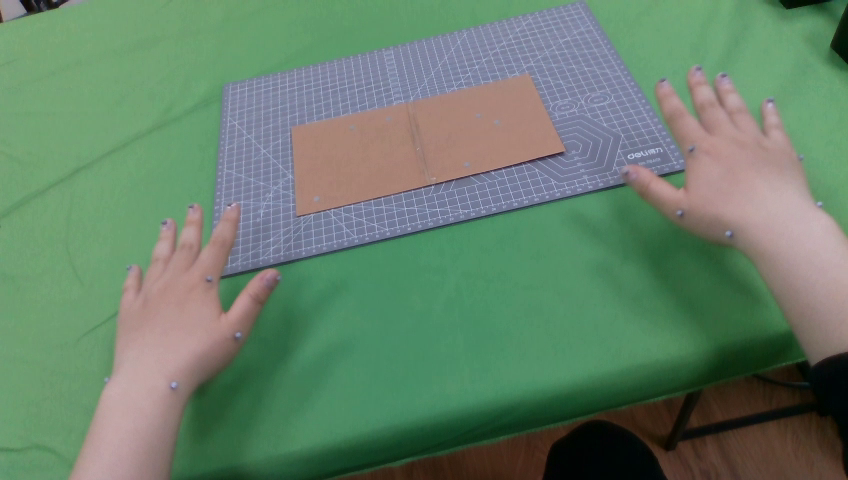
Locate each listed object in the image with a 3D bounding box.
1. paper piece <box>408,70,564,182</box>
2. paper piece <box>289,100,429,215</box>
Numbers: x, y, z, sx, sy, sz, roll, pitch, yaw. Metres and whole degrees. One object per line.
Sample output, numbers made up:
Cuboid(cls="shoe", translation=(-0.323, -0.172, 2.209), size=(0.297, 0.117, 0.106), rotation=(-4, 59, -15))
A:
Cuboid(cls="paper piece", translation=(0.059, -0.122, 0.623), size=(0.135, 0.004, 0.134), rotation=(-14, 50, 2))
Cuboid(cls="paper piece", translation=(-0.072, -0.090, 0.625), size=(0.138, 0.009, 0.134), rotation=(-13, 48, 1))
